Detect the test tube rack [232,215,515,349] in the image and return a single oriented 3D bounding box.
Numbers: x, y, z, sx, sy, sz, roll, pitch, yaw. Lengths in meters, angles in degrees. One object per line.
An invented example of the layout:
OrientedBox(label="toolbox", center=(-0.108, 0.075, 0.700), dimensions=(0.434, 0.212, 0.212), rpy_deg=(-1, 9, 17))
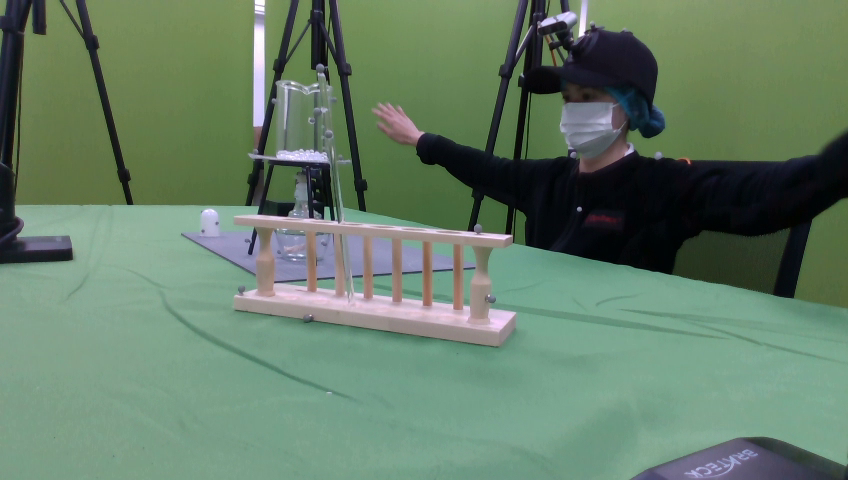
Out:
OrientedBox(label="test tube rack", center=(-0.045, 0.028, 0.526), dimensions=(0.242, 0.085, 0.067), rpy_deg=(5, 8, 19))

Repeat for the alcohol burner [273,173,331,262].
OrientedBox(label="alcohol burner", center=(-0.164, -0.030, 0.812), dimensions=(0.078, 0.119, 0.078), rpy_deg=(2, 9, 0))

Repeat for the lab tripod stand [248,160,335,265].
OrientedBox(label="lab tripod stand", center=(-0.165, -0.041, 0.817), dimensions=(0.148, 0.131, 0.148), rpy_deg=(5, 7, 0))

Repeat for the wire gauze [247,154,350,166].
OrientedBox(label="wire gauze", center=(-0.170, -0.105, 0.802), dimensions=(0.122, 0.011, 0.124), rpy_deg=(-1, 11, -20))

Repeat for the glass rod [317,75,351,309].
OrientedBox(label="glass rod", center=(-0.075, -0.036, 0.502), dimensions=(0.008, 0.199, 0.008), rpy_deg=(-6, 8, 1))

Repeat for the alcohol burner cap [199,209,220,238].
OrientedBox(label="alcohol burner cap", center=(-0.356, -0.027, 1.002), dimensions=(0.034, 0.048, 0.034), rpy_deg=(2, 7, 0))

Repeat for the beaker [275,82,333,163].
OrientedBox(label="beaker", center=(-0.159, -0.152, 0.795), dimensions=(0.074, 0.100, 0.083), rpy_deg=(1, 8, -15))
